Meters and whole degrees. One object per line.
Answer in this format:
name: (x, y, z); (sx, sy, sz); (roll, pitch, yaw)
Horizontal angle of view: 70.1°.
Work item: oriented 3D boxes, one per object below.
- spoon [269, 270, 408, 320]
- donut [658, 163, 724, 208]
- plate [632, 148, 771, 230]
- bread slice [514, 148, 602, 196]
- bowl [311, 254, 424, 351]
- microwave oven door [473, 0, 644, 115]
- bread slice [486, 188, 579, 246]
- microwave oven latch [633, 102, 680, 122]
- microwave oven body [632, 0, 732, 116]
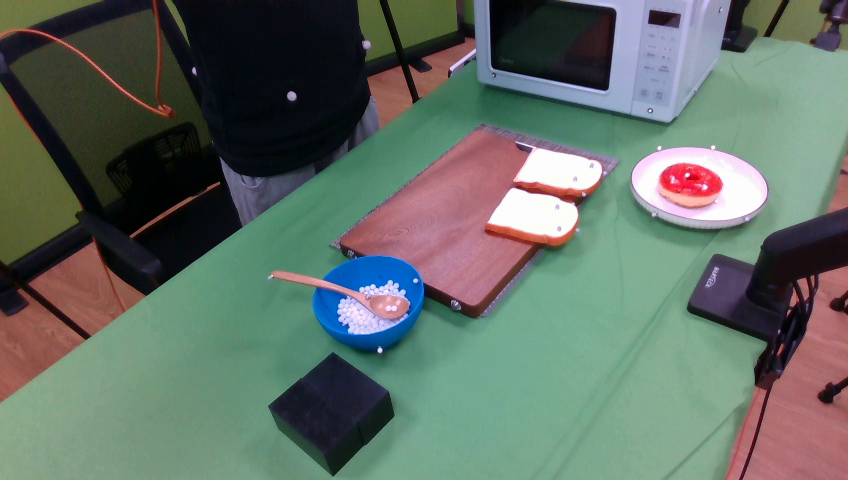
spoon: (-0.115, 0.068, 0.813); (0.194, 0.021, 0.041); (18, 49, 0)
donut: (0.432, -0.090, 0.982); (0.099, 0.048, 0.098); (-3, 38, 3)
plate: (0.447, -0.081, 0.988); (0.207, 0.039, 0.206); (-4, 40, 4)
bread slice: (0.232, -0.114, 1.027); (0.133, 0.018, 0.107); (13, 45, 20)
bowl: (-0.071, 0.098, 0.821); (0.151, 0.077, 0.150); (-4, 40, 4)
microwave oven door: (0.257, -0.396, 1.199); (0.353, 0.245, 0.039); (21, 48, 29)
bread slice: (0.176, -0.037, 0.946); (0.131, 0.019, 0.105); (16, 47, 24)
microwave oven latch: (0.444, -0.249, 1.157); (0.078, 0.029, 0.030); (22, 49, 31)
microwave oven body: (0.377, -0.462, 1.267); (0.438, 0.261, 0.327); (21, 48, 30)
